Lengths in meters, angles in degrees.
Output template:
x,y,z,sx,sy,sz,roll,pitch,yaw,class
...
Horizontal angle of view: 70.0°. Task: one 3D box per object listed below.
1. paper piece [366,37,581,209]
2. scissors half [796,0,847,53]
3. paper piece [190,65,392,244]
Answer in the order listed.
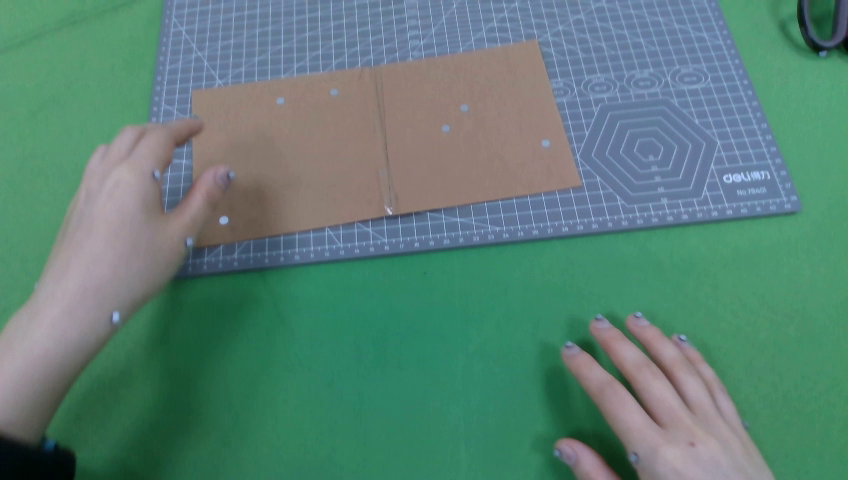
x,y,z,sx,sy,sz,roll,pitch,yaw,class
0.032,-0.089,0.441,0.136,0.004,0.134,-9,64,-3,paper piece
0.321,-0.229,0.464,0.040,0.013,0.175,16,88,7,scissors half
-0.099,-0.068,0.435,0.138,0.009,0.134,-9,61,-2,paper piece
